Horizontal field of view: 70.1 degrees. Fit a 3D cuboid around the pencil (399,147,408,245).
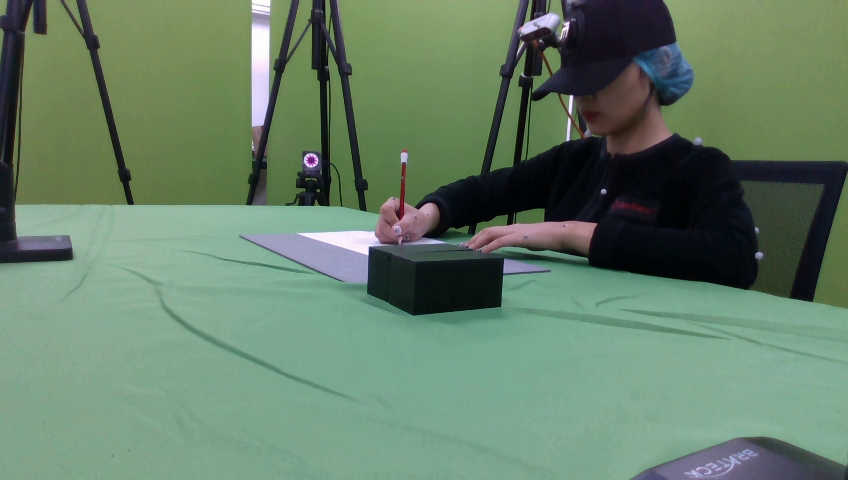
[{"bbox_3d":[-0.035,-0.076,1.009,0.012,0.193,0.012,1,-29,1],"label":"pencil"}]
